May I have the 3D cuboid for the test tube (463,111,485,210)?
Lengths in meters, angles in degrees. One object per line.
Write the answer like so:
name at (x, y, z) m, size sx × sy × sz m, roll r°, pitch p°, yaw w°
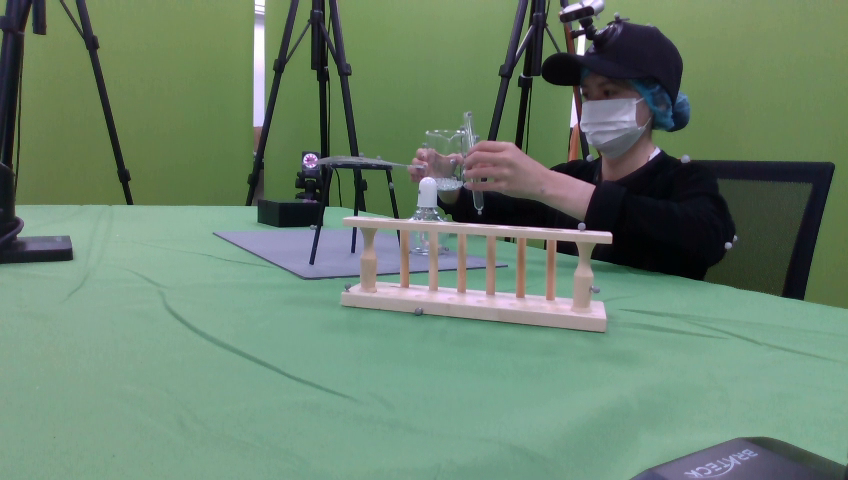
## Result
test tube at (0.076, -0.119, 0.912) m, size 0.017 × 0.150 × 0.017 m, roll -7°, pitch -3°, yaw 0°

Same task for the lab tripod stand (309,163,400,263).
lab tripod stand at (-0.091, -0.037, 0.813) m, size 0.148 × 0.131 × 0.148 m, roll 1°, pitch 6°, yaw 0°

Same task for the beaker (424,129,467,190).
beaker at (0.038, -0.141, 1.065) m, size 0.074 × 0.100 × 0.084 m, roll -3°, pitch 17°, yaw -6°

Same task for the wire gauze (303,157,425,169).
wire gauze at (-0.082, -0.102, 0.799) m, size 0.126 × 0.011 × 0.121 m, roll -1°, pitch 7°, yaw -30°

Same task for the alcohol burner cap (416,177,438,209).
alcohol burner cap at (0.005, -0.072, 0.914) m, size 0.034 × 0.048 × 0.034 m, roll 3°, pitch 9°, yaw 0°

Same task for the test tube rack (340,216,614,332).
test tube rack at (0.048, 0.026, 0.568) m, size 0.242 × 0.085 × 0.067 m, roll 4°, pitch 8°, yaw 13°

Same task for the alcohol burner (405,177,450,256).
alcohol burner at (0.004, -0.036, 0.917) m, size 0.078 × 0.119 × 0.078 m, roll 4°, pitch 6°, yaw 0°
